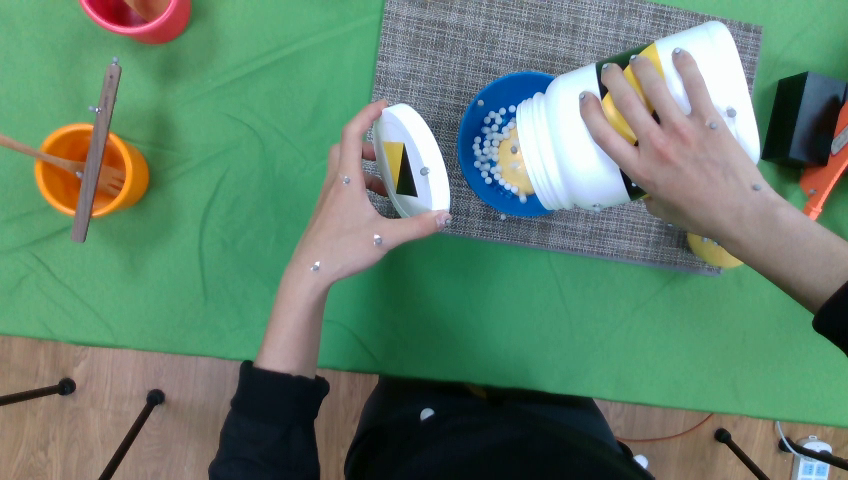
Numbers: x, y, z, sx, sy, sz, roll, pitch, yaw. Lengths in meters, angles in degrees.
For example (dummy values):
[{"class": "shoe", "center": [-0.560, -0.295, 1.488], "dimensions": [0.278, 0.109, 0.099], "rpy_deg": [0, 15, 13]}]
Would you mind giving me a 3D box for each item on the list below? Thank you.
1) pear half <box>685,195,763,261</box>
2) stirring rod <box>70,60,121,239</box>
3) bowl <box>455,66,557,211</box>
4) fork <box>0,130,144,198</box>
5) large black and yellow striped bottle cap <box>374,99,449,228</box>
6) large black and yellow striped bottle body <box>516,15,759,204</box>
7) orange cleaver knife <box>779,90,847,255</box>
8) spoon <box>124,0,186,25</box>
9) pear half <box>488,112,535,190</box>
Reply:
[{"class": "pear half", "center": [0.336, -0.012, 0.684], "dimensions": [0.056, 0.109, 0.076], "rpy_deg": [-11, 91, -5]}, {"class": "stirring rod", "center": [-0.317, -0.086, 0.584], "dimensions": [0.014, 0.006, 0.176], "rpy_deg": [13, 93, -10]}, {"class": "bowl", "center": [0.103, -0.107, 0.664], "dimensions": [0.151, 0.076, 0.151], "rpy_deg": [-1, 95, -6]}, {"class": "fork", "center": [-0.369, -0.086, 0.579], "dimensions": [0.028, 0.018, 0.209], "rpy_deg": [-54, 142, 7]}, {"class": "large black and yellow striped bottle cap", "center": [-0.013, -0.067, 0.542], "dimensions": [0.019, 0.114, 0.115], "rpy_deg": [-21, 96, -21]}, {"class": "large black and yellow striped bottle body", "center": [0.187, -0.107, 0.548], "dimensions": [0.183, 0.131, 0.131], "rpy_deg": [-15, 96, 23]}, {"class": "orange cleaver knife", "center": [0.466, -0.081, 0.711], "dimensions": [0.012, 0.076, 0.213], "rpy_deg": [10, 122, -2]}, {"class": "spoon", "center": [-0.322, -0.256, 0.575], "dimensions": [0.195, 0.021, 0.041], "rpy_deg": [12, 96, -50]}, {"class": "pear half", "center": [0.107, -0.099, 0.659], "dimensions": [0.070, 0.031, 0.088], "rpy_deg": [-18, 92, -7]}]
